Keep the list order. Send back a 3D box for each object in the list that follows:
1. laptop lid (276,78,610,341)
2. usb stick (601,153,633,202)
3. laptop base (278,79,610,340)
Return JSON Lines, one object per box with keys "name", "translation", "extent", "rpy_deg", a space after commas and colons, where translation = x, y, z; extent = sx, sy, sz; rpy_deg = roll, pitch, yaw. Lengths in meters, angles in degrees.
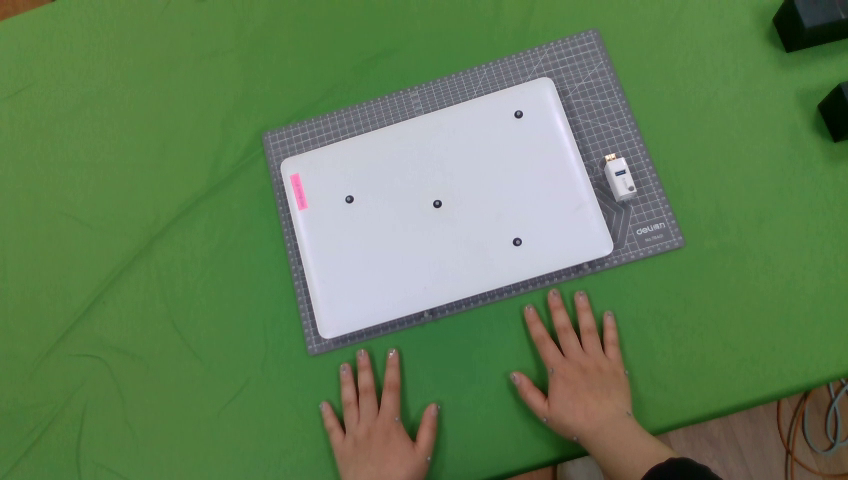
{"name": "laptop lid", "translation": [0.014, -0.041, 0.714], "extent": [0.357, 0.013, 0.240], "rpy_deg": [-16, 76, 3]}
{"name": "usb stick", "translation": [0.221, -0.076, 0.702], "extent": [0.021, 0.027, 0.058], "rpy_deg": [-18, 70, 7]}
{"name": "laptop base", "translation": [0.014, -0.040, 0.726], "extent": [0.354, 0.023, 0.234], "rpy_deg": [-17, 77, 2]}
